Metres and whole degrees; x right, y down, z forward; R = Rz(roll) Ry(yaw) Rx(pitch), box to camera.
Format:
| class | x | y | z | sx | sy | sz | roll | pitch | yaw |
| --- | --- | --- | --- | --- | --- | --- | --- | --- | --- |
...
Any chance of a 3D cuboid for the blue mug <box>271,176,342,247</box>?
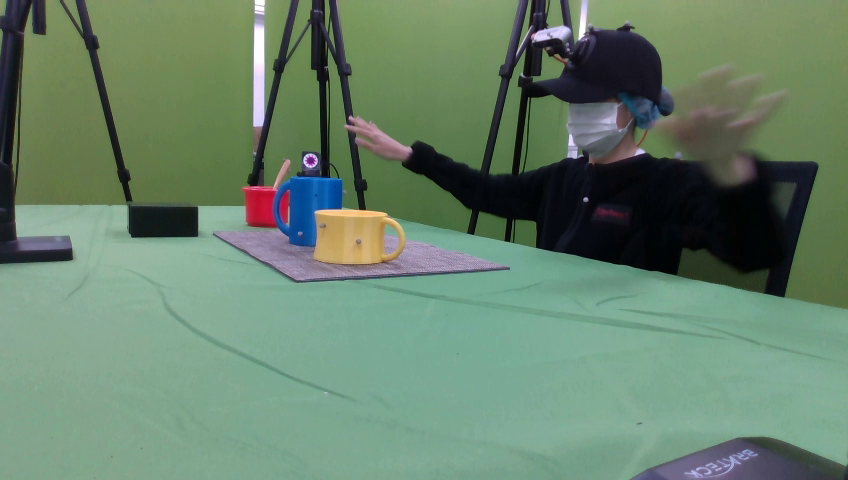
| class | x | y | z | sx | sy | sz | roll | pitch | yaw |
| --- | --- | --- | --- | --- | --- | --- | --- | --- | --- |
| blue mug | -0.190 | -0.047 | 0.963 | 0.116 | 0.106 | 0.082 | 4 | 7 | 13 |

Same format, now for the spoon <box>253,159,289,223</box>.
| class | x | y | z | sx | sy | sz | roll | pitch | yaw |
| --- | --- | --- | --- | --- | --- | --- | --- | --- | --- |
| spoon | -0.307 | -0.104 | 1.244 | 0.041 | 0.022 | 0.193 | 2 | 51 | 11 |

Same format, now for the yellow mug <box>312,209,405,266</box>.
| class | x | y | z | sx | sy | sz | roll | pitch | yaw |
| --- | --- | --- | --- | --- | --- | --- | --- | --- | --- |
| yellow mug | -0.086 | -0.004 | 0.817 | 0.130 | 0.064 | 0.100 | 6 | 8 | 18 |
